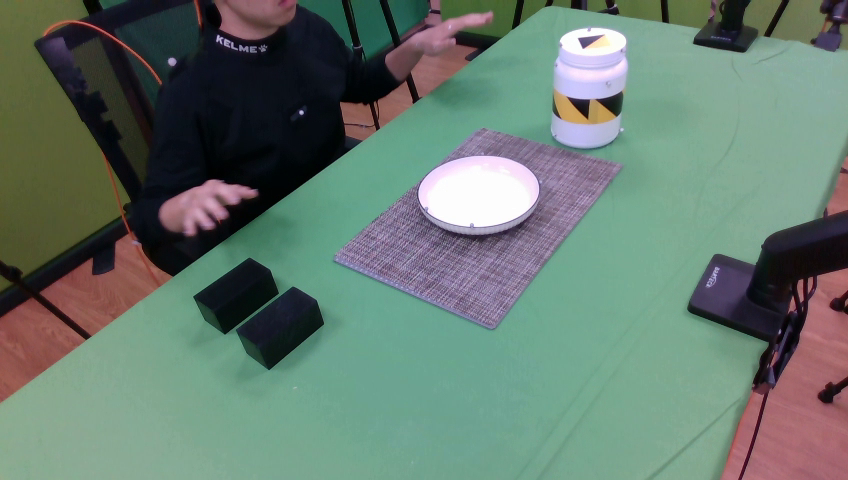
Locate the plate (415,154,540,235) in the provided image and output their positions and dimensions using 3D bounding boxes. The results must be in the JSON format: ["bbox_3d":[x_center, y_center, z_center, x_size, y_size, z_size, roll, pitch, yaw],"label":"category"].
[{"bbox_3d":[0.090,-0.074,1.025,0.207,0.039,0.206,-4,41,4],"label":"plate"}]

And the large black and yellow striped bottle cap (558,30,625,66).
[{"bbox_3d":[0.297,-0.342,1.071,0.115,0.019,0.114,-3,42,4],"label":"large black and yellow striped bottle cap"}]

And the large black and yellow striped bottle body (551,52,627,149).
[{"bbox_3d":[0.305,-0.278,1.125,0.131,0.185,0.130,-4,41,4],"label":"large black and yellow striped bottle body"}]
